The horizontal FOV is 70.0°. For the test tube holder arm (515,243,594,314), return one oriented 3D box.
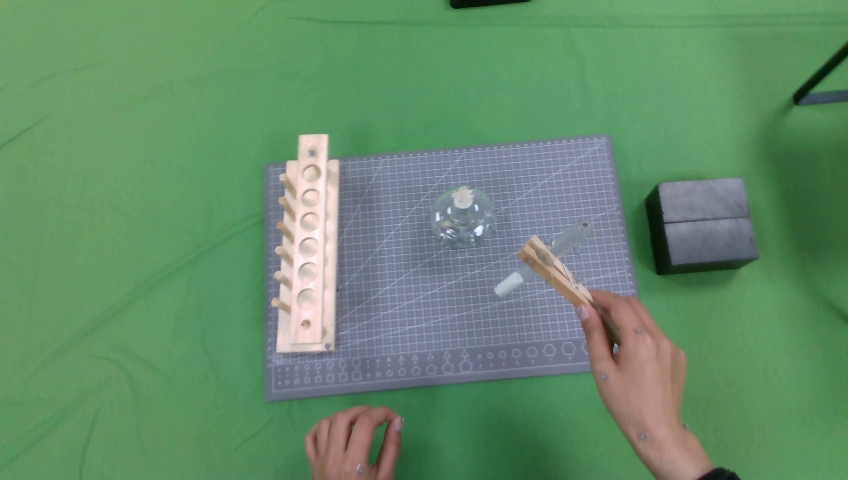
[{"bbox_3d":[0.120,0.036,0.551,0.088,0.015,0.010,39,57,-4],"label":"test tube holder arm"}]

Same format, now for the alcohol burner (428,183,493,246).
[{"bbox_3d":[0.042,-0.035,0.702,0.078,0.120,0.077,-1,75,3],"label":"alcohol burner"}]

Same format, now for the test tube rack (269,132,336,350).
[{"bbox_3d":[-0.145,0.003,0.710,0.067,0.085,0.241,-2,74,1],"label":"test tube rack"}]

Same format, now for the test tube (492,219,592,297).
[{"bbox_3d":[0.103,0.021,0.559,0.017,0.150,0.017,12,60,-21],"label":"test tube"}]

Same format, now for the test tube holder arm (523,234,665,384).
[{"bbox_3d":[0.156,0.064,0.555,0.178,0.015,0.013,46,58,0],"label":"test tube holder arm"}]
